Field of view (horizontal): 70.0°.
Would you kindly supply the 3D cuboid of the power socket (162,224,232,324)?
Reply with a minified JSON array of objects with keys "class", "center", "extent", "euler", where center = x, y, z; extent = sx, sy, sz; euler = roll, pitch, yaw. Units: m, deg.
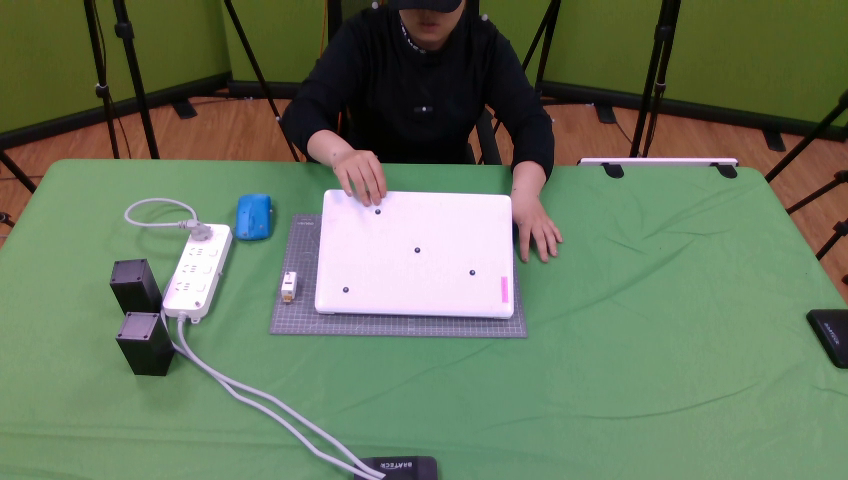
[{"class":"power socket","center":[-0.411,0.052,1.107],"extent":[0.072,0.033,0.225],"euler":[3,45,-1]}]

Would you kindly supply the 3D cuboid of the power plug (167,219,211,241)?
[{"class":"power plug","center":[-0.438,-0.017,1.144],"extent":[0.072,0.053,0.035],"euler":[10,43,7]}]

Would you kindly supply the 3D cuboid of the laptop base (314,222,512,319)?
[{"class":"laptop base","center":[-0.018,0.055,1.144],"extent":[0.354,0.023,0.234],"euler":[2,43,-2]}]

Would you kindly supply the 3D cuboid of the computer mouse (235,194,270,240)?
[{"class":"computer mouse","center":[-0.341,-0.049,1.208],"extent":[0.063,0.041,0.116],"euler":[-1,51,-7]}]

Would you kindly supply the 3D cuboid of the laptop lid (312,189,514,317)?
[{"class":"laptop lid","center":[-0.015,0.020,1.091],"extent":[0.357,0.013,0.240],"euler":[3,70,-1]}]

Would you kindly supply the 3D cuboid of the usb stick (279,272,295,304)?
[{"class":"usb stick","center":[-0.246,0.088,1.085],"extent":[0.021,0.027,0.059],"euler":[4,47,-4]}]
